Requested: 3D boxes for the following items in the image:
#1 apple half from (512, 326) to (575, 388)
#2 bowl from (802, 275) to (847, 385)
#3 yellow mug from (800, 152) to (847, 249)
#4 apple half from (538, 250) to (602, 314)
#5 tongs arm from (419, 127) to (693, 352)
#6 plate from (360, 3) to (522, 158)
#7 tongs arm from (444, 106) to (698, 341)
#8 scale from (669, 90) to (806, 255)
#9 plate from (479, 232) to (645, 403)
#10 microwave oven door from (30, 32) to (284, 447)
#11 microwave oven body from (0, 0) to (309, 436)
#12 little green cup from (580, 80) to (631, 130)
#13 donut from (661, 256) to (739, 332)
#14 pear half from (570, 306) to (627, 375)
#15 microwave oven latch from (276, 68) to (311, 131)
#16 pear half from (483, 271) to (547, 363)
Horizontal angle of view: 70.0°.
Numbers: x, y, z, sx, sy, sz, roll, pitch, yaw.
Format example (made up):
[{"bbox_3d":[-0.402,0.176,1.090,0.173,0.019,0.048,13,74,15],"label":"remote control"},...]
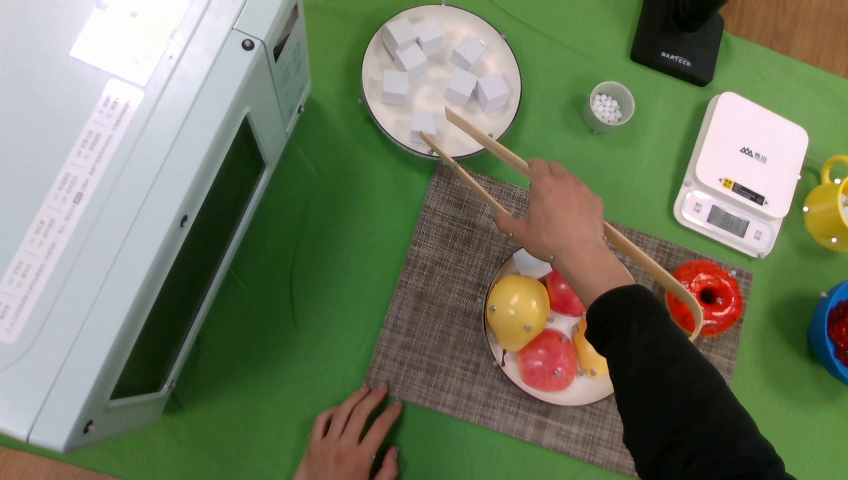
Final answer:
[{"bbox_3d":[0.148,0.141,0.729,0.081,0.033,0.081,3,73,-9],"label":"apple half"},{"bbox_3d":[0.553,0.119,0.787,0.152,0.077,0.151,1,81,-8],"label":"bowl"},{"bbox_3d":[0.576,-0.057,0.827,0.100,0.064,0.130,-13,81,-10],"label":"yellow mug"},{"bbox_3d":[0.181,0.050,0.741,0.075,0.053,0.080,8,82,-4],"label":"apple half"},{"bbox_3d":[0.125,-0.018,0.661,0.051,0.027,0.381,-37,63,-8],"label":"tongs arm"},{"bbox_3d":[0.022,-0.201,0.782,0.208,0.039,0.207,2,80,-8],"label":"plate"},{"bbox_3d":[0.146,-0.036,0.665,0.028,0.028,0.384,-38,63,-13],"label":"tongs arm"},{"bbox_3d":[0.430,-0.093,0.828,0.149,0.031,0.200,24,78,-3],"label":"scale"},{"bbox_3d":[0.168,0.095,0.749,0.209,0.038,0.208,2,80,-9],"label":"plate"},{"bbox_3d":[-0.230,0.007,0.584,0.039,0.244,0.354,22,77,-4],"label":"microwave oven door"},{"bbox_3d":[-0.350,-0.086,0.588,0.326,0.260,0.440,22,78,-5],"label":"microwave oven body"},{"bbox_3d":[0.241,-0.178,0.811,0.062,0.038,0.061,2,79,-8],"label":"little green cup"},{"bbox_3d":[0.353,0.069,0.778,0.099,0.048,0.098,1,79,-5],"label":"donut"},{"bbox_3d":[0.216,0.123,0.745,0.070,0.031,0.087,18,75,9],"label":"pear half"},{"bbox_3d":[-0.163,-0.173,0.730,0.030,0.029,0.079,25,78,-4],"label":"microwave oven latch"},{"bbox_3d":[0.108,0.094,0.718,0.077,0.056,0.109,15,82,-15],"label":"pear half"}]
